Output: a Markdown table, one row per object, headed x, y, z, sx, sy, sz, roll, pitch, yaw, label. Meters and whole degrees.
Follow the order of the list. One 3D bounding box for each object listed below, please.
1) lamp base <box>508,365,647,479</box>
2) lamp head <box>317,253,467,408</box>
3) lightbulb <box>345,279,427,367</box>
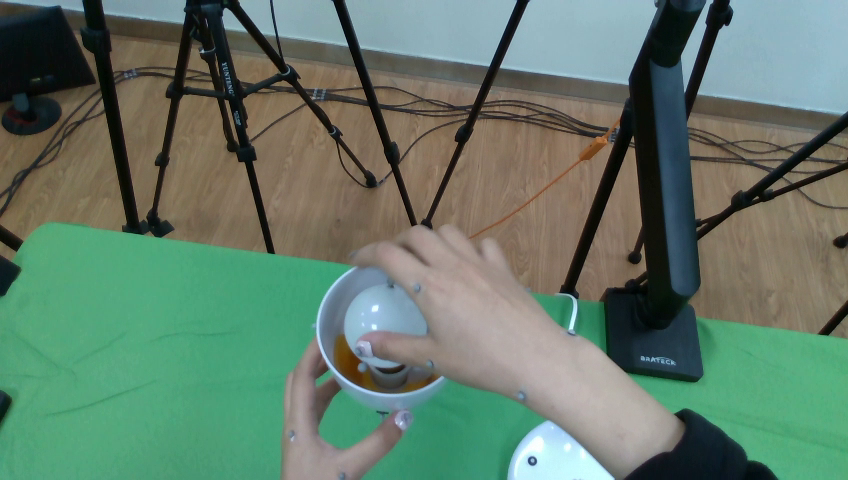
| x | y | z | sx | sy | sz | roll | pitch | yaw | label |
| --- | --- | --- | --- | --- | --- | --- | --- | --- | --- |
| 0.177 | 0.220 | 0.634 | 0.161 | 0.182 | 0.177 | -4 | 53 | -6 | lamp base |
| -0.021 | 0.085 | 0.492 | 0.112 | 0.124 | 0.111 | -1 | 60 | 2 | lamp head |
| -0.027 | 0.070 | 0.462 | 0.059 | 0.108 | 0.059 | 0 | 60 | 1 | lightbulb |
